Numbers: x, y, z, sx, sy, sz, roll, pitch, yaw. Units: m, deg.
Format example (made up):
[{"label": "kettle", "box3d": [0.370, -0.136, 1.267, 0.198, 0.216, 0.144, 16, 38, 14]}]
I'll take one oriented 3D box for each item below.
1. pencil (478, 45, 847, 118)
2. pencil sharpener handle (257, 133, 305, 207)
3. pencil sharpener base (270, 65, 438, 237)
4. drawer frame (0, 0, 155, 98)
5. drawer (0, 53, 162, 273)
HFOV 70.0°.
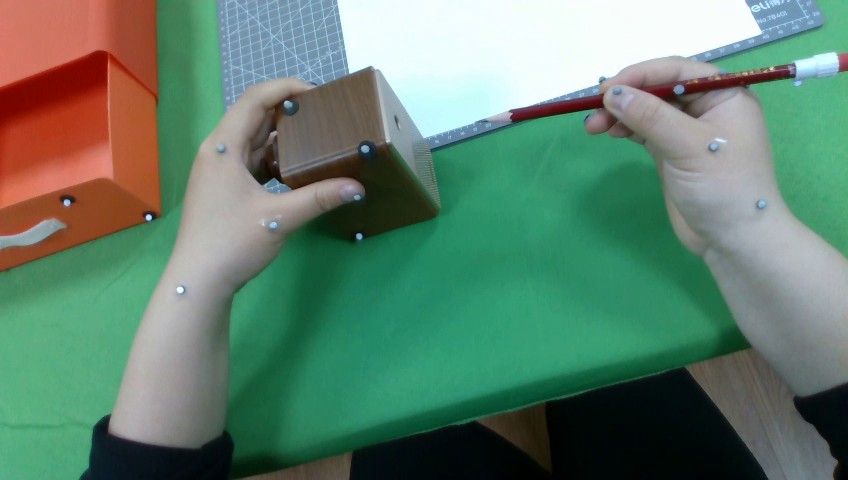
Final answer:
[{"label": "pencil", "box3d": [0.125, -0.083, 0.329, 0.194, 0.012, 0.012, -7, 67, 13]}, {"label": "pencil sharpener handle", "box3d": [-0.095, -0.041, 0.403, 0.030, 0.068, 0.035, -17, 64, 13]}, {"label": "pencil sharpener base", "box3d": [-0.044, -0.052, 0.402, 0.076, 0.108, 0.061, -17, 66, 13]}, {"label": "drawer frame", "box3d": [-0.357, -0.195, 0.558, 0.201, 0.083, 0.211, -18, 65, 8]}, {"label": "drawer", "box3d": [-0.330, -0.091, 0.512, 0.194, 0.074, 0.210, -18, 65, 8]}]
